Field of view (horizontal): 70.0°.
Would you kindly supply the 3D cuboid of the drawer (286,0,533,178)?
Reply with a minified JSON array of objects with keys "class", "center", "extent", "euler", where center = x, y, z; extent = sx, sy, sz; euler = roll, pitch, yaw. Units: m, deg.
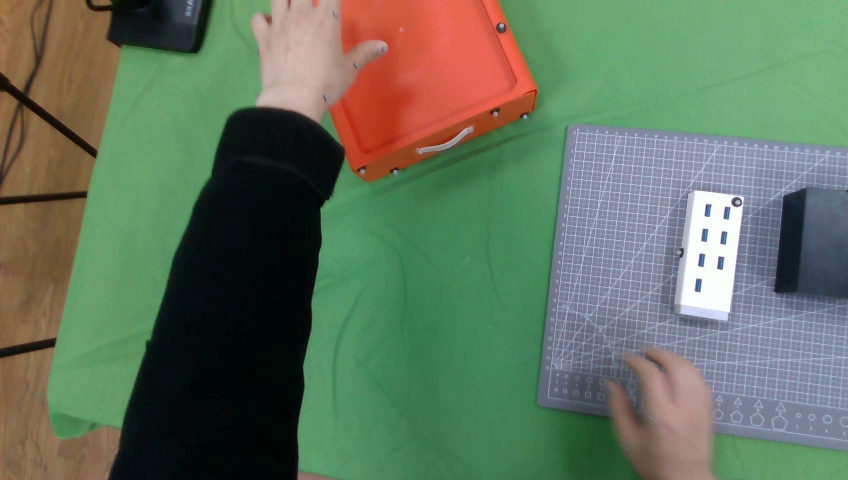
[{"class":"drawer","center":[-0.017,-0.198,0.633],"extent":[0.194,0.073,0.211],"euler":[-23,82,5]}]

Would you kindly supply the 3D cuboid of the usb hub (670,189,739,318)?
[{"class":"usb hub","center":[0.282,0.013,0.608],"extent":[0.049,0.025,0.125],"euler":[8,87,7]}]

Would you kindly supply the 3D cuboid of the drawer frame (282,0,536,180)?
[{"class":"drawer frame","center":[-0.019,-0.199,0.631],"extent":[0.201,0.083,0.213],"euler":[-23,83,5]}]
